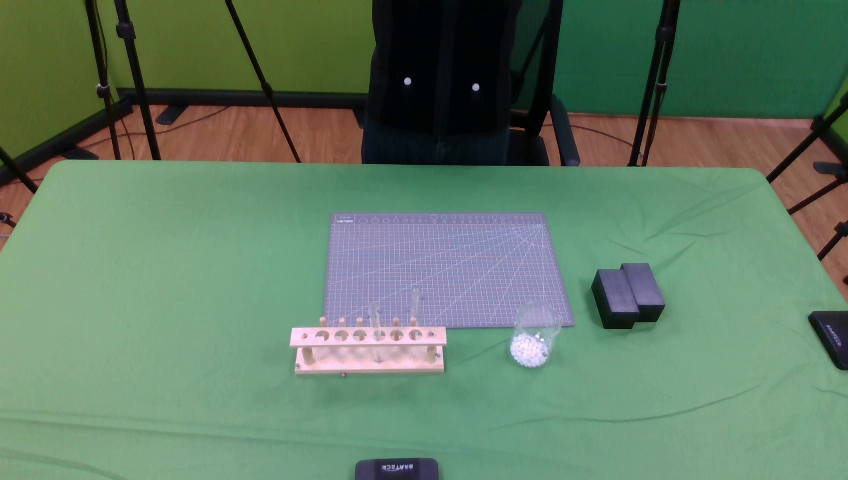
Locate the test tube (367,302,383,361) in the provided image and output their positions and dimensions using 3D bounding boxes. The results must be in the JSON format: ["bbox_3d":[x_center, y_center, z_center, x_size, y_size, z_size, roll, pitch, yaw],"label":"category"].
[{"bbox_3d":[-0.075,0.145,0.941,0.017,0.151,0.017,0,49,0],"label":"test tube"}]

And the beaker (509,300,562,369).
[{"bbox_3d":[0.182,0.162,1.005,0.074,0.101,0.083,-4,47,-7],"label":"beaker"}]

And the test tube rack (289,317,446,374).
[{"bbox_3d":[-0.089,0.167,0.988,0.242,0.085,0.066,0,46,-4],"label":"test tube rack"}]

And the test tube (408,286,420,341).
[{"bbox_3d":[-0.017,0.123,0.974,0.017,0.151,0.017,2,48,-2],"label":"test tube"}]
